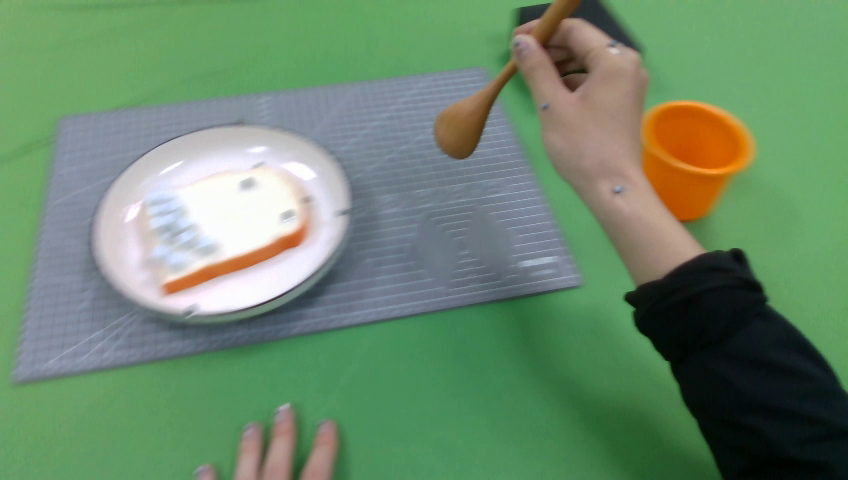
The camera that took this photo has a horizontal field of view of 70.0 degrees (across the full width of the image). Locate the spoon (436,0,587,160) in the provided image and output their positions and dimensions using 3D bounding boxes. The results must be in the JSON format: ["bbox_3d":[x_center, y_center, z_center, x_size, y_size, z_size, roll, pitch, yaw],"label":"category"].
[{"bbox_3d":[0.064,-0.121,0.422,0.041,0.194,0.021,49,41,5],"label":"spoon"}]

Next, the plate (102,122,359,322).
[{"bbox_3d":[-0.158,-0.017,0.517,0.209,0.038,0.207,1,54,-1],"label":"plate"}]

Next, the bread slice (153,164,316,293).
[{"bbox_3d":[-0.162,-0.020,0.522,0.132,0.019,0.104,-22,57,-15],"label":"bread slice"}]
